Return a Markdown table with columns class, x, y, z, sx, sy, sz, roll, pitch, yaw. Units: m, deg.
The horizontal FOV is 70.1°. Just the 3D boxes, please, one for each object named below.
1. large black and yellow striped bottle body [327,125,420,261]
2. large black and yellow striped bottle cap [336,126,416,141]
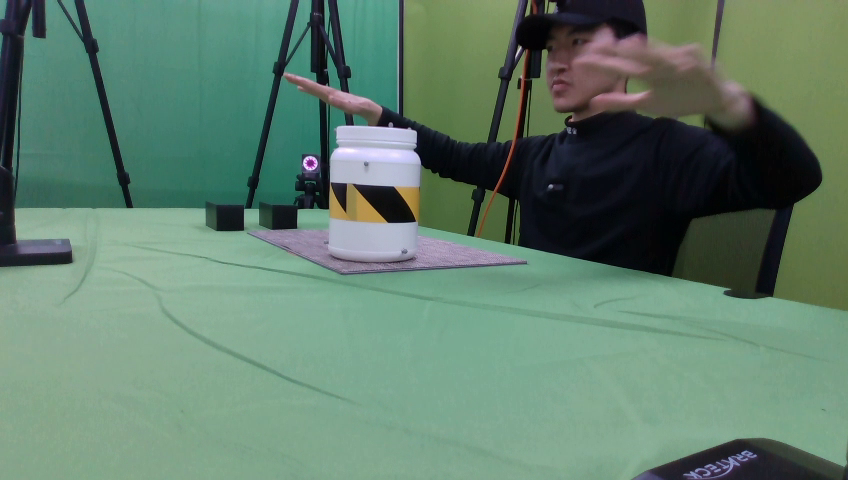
| class | x | y | z | sx | sy | sz | roll | pitch | yaw |
| --- | --- | --- | --- | --- | --- | --- | --- | --- | --- |
| large black and yellow striped bottle body | -0.072 | -0.069 | 0.872 | 0.131 | 0.184 | 0.130 | 2 | 7 | 0 |
| large black and yellow striped bottle cap | -0.068 | -0.150 | 0.860 | 0.115 | 0.019 | 0.115 | 1 | 6 | 0 |
